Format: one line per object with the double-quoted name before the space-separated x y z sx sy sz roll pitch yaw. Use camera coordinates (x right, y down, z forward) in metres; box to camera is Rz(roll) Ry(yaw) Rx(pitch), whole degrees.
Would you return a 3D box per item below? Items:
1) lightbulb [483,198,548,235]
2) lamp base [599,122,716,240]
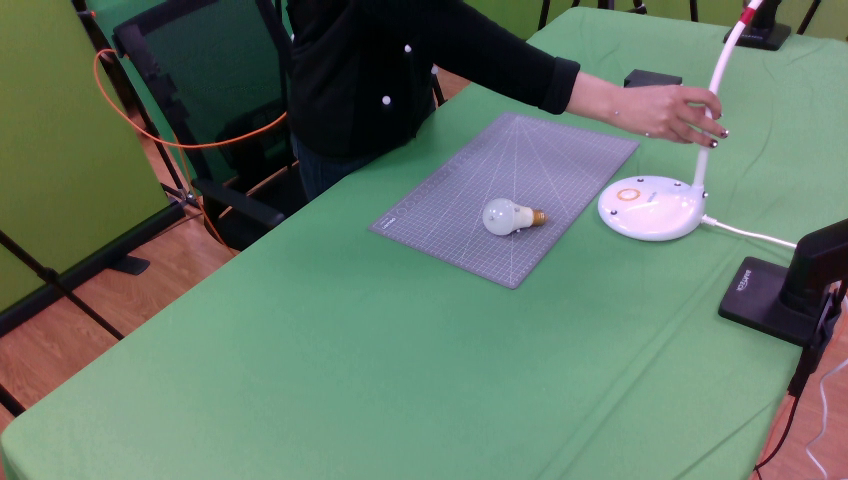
"lightbulb" 0.148 -0.037 0.973 0.108 0.059 0.059 1 39 -12
"lamp base" 0.366 -0.110 0.921 0.178 0.181 0.160 14 46 22
